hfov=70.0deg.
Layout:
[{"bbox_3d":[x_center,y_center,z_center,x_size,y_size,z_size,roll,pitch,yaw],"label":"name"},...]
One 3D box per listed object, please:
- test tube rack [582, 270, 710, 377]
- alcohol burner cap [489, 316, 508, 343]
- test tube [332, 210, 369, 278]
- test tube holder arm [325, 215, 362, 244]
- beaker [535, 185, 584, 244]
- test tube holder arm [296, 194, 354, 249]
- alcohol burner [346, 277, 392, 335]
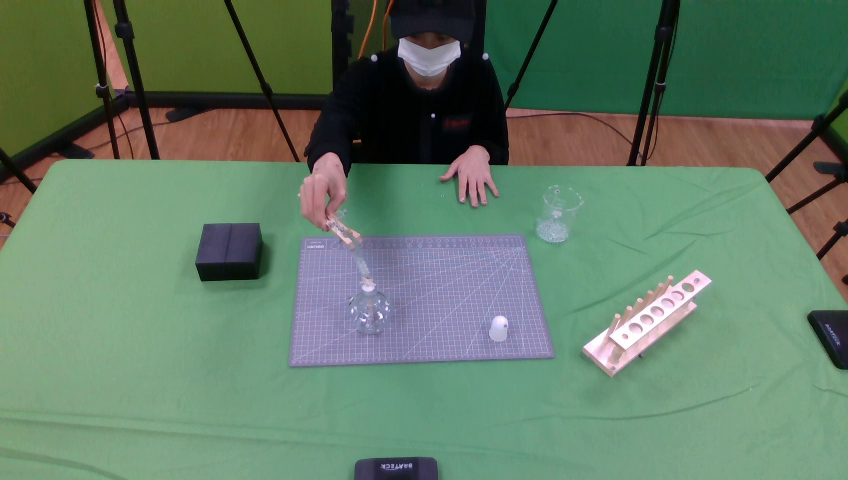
[{"bbox_3d":[0.389,0.132,1.057,0.242,0.085,0.066,-28,54,-28],"label":"test tube rack"},{"bbox_3d":[0.130,0.151,1.045,0.034,0.048,0.033,2,46,-2],"label":"alcohol burner cap"},{"bbox_3d":[-0.108,0.010,0.912,0.017,0.151,0.017,-7,50,9],"label":"test tube"},{"bbox_3d":[-0.124,-0.017,0.911,0.087,0.015,0.010,27,58,39],"label":"test tube holder arm"},{"bbox_3d":[0.268,-0.048,1.213,0.084,0.101,0.073,6,46,0],"label":"beaker"},{"bbox_3d":[-0.157,-0.032,0.938,0.013,0.015,0.177,-35,44,-20],"label":"test tube holder arm"},{"bbox_3d":[-0.093,0.106,1.021,0.078,0.120,0.077,1,46,-1],"label":"alcohol burner"}]
